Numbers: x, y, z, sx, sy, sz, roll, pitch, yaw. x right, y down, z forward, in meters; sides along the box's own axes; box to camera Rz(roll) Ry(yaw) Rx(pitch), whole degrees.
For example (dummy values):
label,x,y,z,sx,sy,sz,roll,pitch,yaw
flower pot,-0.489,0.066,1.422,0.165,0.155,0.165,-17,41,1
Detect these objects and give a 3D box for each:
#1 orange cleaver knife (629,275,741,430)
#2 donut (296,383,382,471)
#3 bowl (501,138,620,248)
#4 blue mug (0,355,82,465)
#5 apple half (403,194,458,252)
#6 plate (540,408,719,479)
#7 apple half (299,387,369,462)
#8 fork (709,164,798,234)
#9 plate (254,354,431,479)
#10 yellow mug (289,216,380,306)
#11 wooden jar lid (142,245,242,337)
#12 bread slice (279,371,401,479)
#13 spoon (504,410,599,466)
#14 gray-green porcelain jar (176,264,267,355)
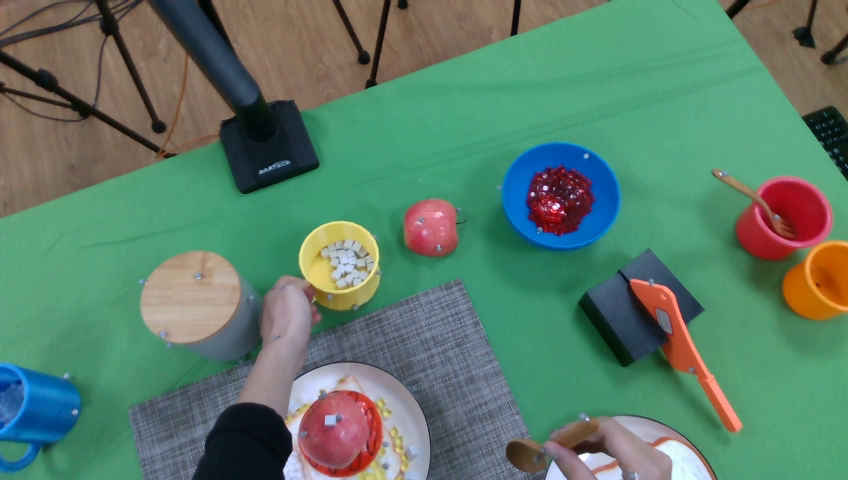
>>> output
label,x,y,z,sx,sy,sz,roll,pitch,yaw
orange cleaver knife,0.312,0.133,0.730,0.012,0.077,0.211,-31,93,-17
donut,-0.097,0.215,0.699,0.099,0.048,0.098,-1,72,2
bowl,0.174,-0.051,0.803,0.151,0.077,0.150,0,70,1
blue mug,-0.474,0.202,0.710,0.082,0.106,0.115,-1,69,1
apple half,0.008,-0.028,0.813,0.074,0.054,0.080,-1,70,4
plate,0.234,0.301,0.693,0.209,0.038,0.207,-1,70,2
apple half,-0.101,0.203,0.665,0.081,0.033,0.081,-2,71,7
fork,0.417,-0.050,0.760,0.209,0.018,0.028,25,65,-34
plate,-0.094,0.241,0.719,0.207,0.039,0.206,0,70,1
yellow mug,-0.119,0.037,0.776,0.131,0.064,0.099,-40,74,-18
wooden jar lid,-0.257,0.058,0.679,0.108,0.021,0.107,0,67,0
bread slice,-0.091,0.238,0.721,0.107,0.018,0.133,-37,73,-11
spoon,0.110,0.176,0.529,0.041,0.195,0.021,36,65,8
gray-green porcelain jar,-0.254,0.081,0.739,0.106,0.127,0.105,0,68,1
